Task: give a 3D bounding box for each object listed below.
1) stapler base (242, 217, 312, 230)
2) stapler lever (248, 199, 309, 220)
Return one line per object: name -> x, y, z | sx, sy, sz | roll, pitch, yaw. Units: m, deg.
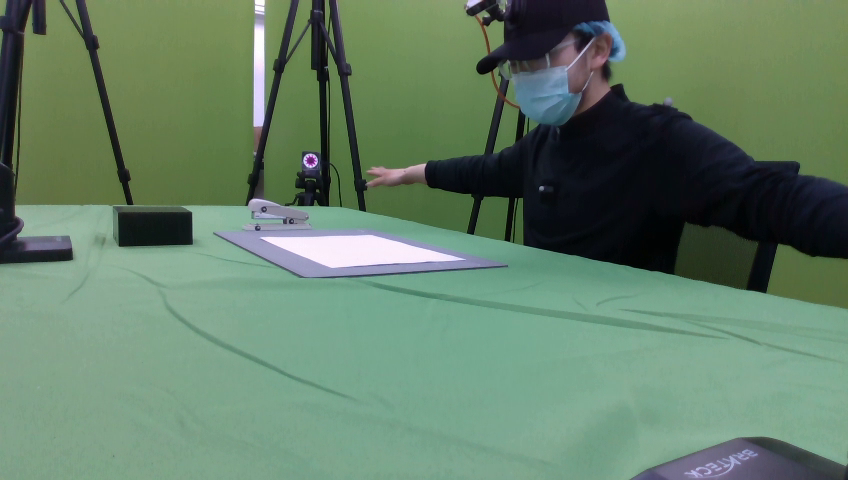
stapler base -> -0.284, -0.033, 1.170 | 0.131, 0.024, 0.041 | -1, 11, -37
stapler lever -> -0.281, -0.058, 1.169 | 0.119, 0.040, 0.026 | 0, 10, -37
